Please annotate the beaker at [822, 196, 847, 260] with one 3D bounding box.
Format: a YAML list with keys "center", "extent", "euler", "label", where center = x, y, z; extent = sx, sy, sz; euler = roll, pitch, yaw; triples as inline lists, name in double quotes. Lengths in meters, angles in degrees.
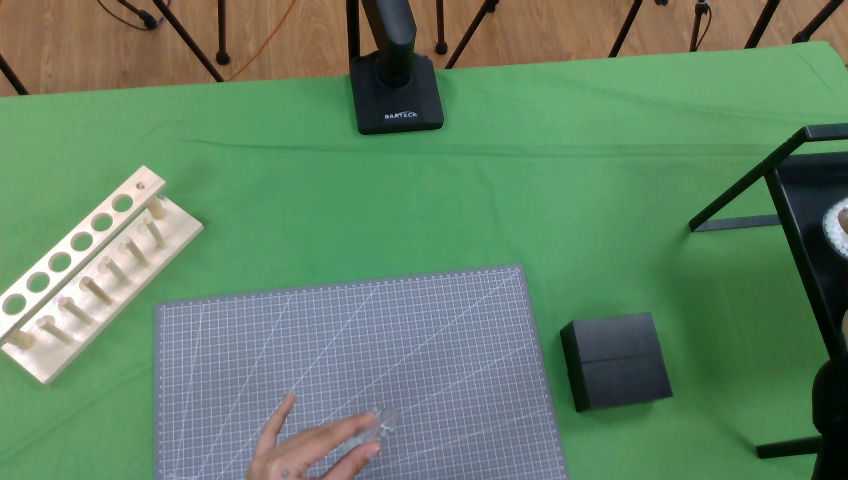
- center: [0.448, -0.026, 0.585]
  extent: [0.074, 0.101, 0.083]
  euler: [-40, 79, -25]
  label: "beaker"

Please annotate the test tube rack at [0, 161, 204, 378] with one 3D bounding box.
- center: [-0.366, 0.032, 0.676]
  extent: [0.066, 0.085, 0.241]
  euler: [36, 69, 8]
  label: "test tube rack"

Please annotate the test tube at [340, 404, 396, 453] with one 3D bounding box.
- center: [-0.051, 0.164, 0.519]
  extent: [0.017, 0.151, 0.017]
  euler: [9, 61, -16]
  label: "test tube"
